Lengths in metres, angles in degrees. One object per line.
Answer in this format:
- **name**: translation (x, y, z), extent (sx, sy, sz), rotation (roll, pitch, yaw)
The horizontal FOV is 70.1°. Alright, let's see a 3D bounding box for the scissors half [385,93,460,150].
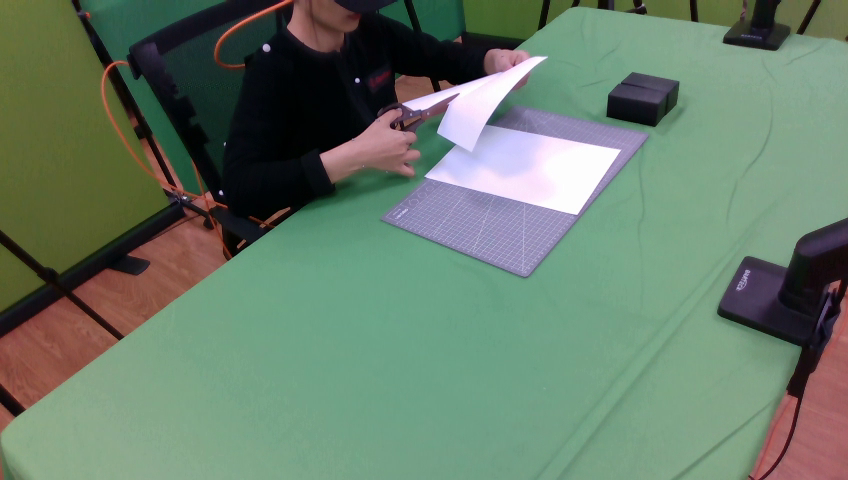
- **scissors half**: translation (0.000, -0.227, 1.144), extent (0.175, 0.040, 0.012), rotation (-40, 27, -5)

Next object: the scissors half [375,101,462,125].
- **scissors half**: translation (-0.008, -0.246, 1.134), extent (0.176, 0.040, 0.012), rotation (-12, 26, -19)
